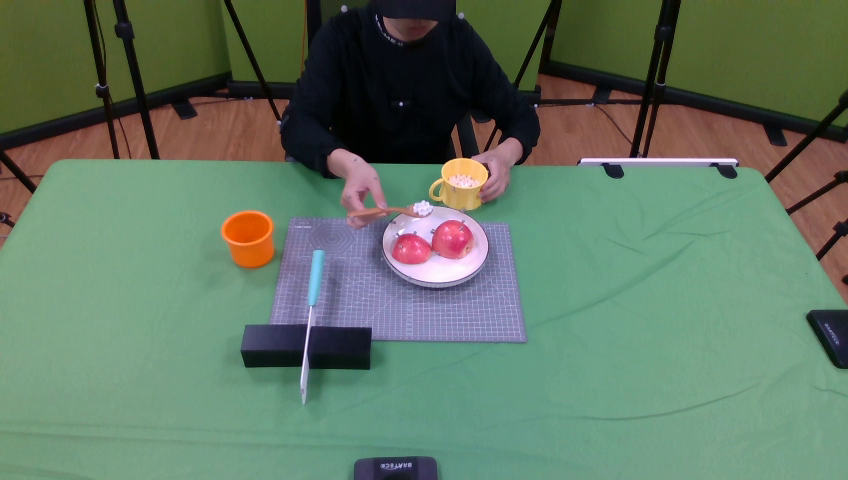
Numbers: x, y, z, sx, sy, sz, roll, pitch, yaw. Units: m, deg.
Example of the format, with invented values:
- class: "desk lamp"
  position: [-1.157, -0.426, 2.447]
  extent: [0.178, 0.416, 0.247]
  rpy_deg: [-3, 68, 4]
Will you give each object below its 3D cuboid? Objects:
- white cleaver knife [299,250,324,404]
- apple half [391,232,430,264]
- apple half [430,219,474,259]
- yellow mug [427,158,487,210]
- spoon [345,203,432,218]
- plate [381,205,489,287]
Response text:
- class: "white cleaver knife"
  position: [-0.194, 0.134, 1.019]
  extent: [0.021, 0.066, 0.284]
  rpy_deg: [5, 50, -5]
- class: "apple half"
  position: [-0.024, 0.009, 1.163]
  extent: [0.081, 0.033, 0.081]
  rpy_deg: [2, 44, -2]
- class: "apple half"
  position: [0.056, -0.008, 1.172]
  extent: [0.081, 0.053, 0.074]
  rpy_deg: [-34, 59, -31]
- class: "yellow mug"
  position: [0.067, -0.116, 1.284]
  extent: [0.131, 0.064, 0.099]
  rpy_deg: [-17, 49, -17]
- class: "spoon"
  position: [-0.063, -0.053, 1.106]
  extent: [0.194, 0.022, 0.041]
  rpy_deg: [-3, 43, -42]
- class: "plate"
  position: [0.021, 0.015, 1.170]
  extent: [0.209, 0.038, 0.208]
  rpy_deg: [2, 46, -2]
